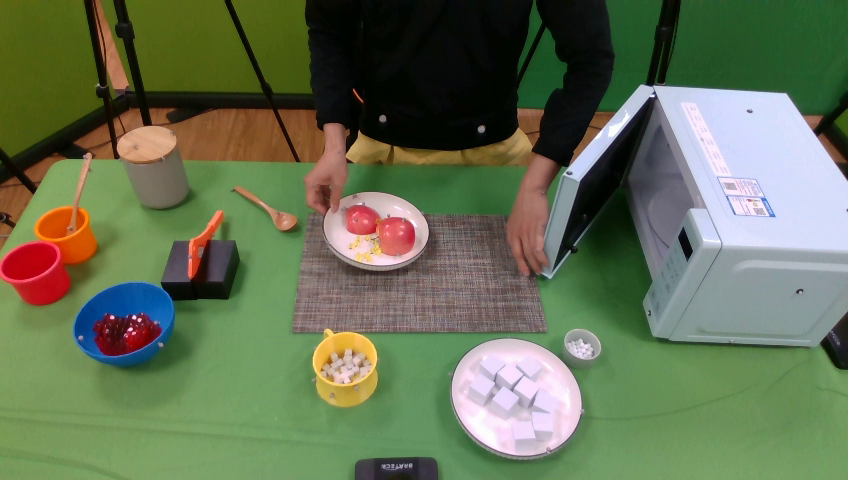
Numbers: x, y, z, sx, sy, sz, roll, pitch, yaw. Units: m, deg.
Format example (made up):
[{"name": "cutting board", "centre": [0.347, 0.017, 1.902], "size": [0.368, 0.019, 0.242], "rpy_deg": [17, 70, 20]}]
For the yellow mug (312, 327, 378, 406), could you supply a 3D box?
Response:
[{"name": "yellow mug", "centre": [-0.132, 0.193, 0.971], "size": [0.100, 0.064, 0.130], "rpy_deg": [-22, 51, -22]}]

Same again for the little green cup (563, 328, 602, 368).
[{"name": "little green cup", "centre": [0.266, 0.184, 1.025], "size": [0.061, 0.039, 0.061], "rpy_deg": [1, 46, -1]}]

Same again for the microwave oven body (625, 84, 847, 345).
[{"name": "microwave oven body", "centre": [0.569, -0.054, 1.116], "size": [0.326, 0.261, 0.439], "rpy_deg": [2, 46, -1]}]

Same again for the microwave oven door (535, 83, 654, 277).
[{"name": "microwave oven door", "centre": [0.330, -0.121, 1.156], "size": [0.039, 0.245, 0.355], "rpy_deg": [29, 51, 21]}]

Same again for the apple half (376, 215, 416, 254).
[{"name": "apple half", "centre": [-0.052, -0.018, 1.165], "size": [0.075, 0.053, 0.080], "rpy_deg": [2, 45, -14]}]

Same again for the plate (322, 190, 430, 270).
[{"name": "plate", "centre": [-0.092, -0.017, 1.177], "size": [0.209, 0.038, 0.208], "rpy_deg": [6, 45, -6]}]

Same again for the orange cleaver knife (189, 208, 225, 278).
[{"name": "orange cleaver knife", "centre": [-0.400, 0.002, 1.122], "size": [0.012, 0.077, 0.210], "rpy_deg": [4, 23, -4]}]

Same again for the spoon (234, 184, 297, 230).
[{"name": "spoon", "centre": [-0.327, -0.073, 1.239], "size": [0.193, 0.022, 0.041], "rpy_deg": [34, 71, 25]}]

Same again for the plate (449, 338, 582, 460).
[{"name": "plate", "centre": [0.141, 0.251, 0.956], "size": [0.208, 0.039, 0.206], "rpy_deg": [2, 46, -2]}]

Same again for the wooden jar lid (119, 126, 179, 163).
[{"name": "wooden jar lid", "centre": [-0.528, -0.181, 1.167], "size": [0.108, 0.021, 0.107], "rpy_deg": [3, 47, -3]}]

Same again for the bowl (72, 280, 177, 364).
[{"name": "bowl", "centre": [-0.472, 0.147, 0.982], "size": [0.151, 0.077, 0.150], "rpy_deg": [2, 46, -2]}]

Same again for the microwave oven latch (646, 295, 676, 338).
[{"name": "microwave oven latch", "centre": [0.413, 0.133, 1.060], "size": [0.030, 0.029, 0.078], "rpy_deg": [4, 46, 1]}]

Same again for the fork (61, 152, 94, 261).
[{"name": "fork", "centre": [-0.638, -0.063, 1.119], "size": [0.028, 0.018, 0.207], "rpy_deg": [11, 90, 8]}]

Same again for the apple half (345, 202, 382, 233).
[{"name": "apple half", "centre": [-0.119, -0.051, 1.196], "size": [0.081, 0.033, 0.081], "rpy_deg": [7, 49, -8]}]

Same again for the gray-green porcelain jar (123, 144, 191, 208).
[{"name": "gray-green porcelain jar", "centre": [-0.531, -0.137, 1.213], "size": [0.106, 0.127, 0.105], "rpy_deg": [2, 47, -2]}]
